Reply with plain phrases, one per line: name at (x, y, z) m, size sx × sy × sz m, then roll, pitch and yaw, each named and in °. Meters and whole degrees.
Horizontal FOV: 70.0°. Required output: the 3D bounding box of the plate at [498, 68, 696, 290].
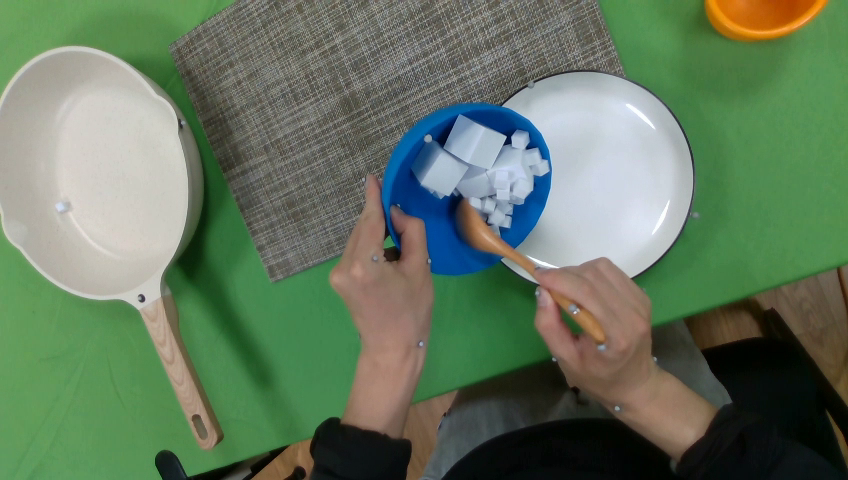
plate at (0.146, -0.056, 0.580) m, size 0.207 × 0.039 × 0.208 m, roll 4°, pitch 104°, yaw 16°

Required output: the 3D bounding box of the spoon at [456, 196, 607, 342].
spoon at (0.077, 0.018, 0.477) m, size 0.191 × 0.022 × 0.042 m, roll 41°, pitch 144°, yaw 44°

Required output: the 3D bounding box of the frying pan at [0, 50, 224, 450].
frying pan at (-0.345, 0.020, 0.718) m, size 0.306 × 0.103 × 0.486 m, roll -27°, pitch 83°, yaw 21°

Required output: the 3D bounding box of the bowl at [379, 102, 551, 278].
bowl at (0.024, -0.051, 0.518) m, size 0.152 × 0.076 × 0.152 m, roll -12°, pitch 121°, yaw -20°
